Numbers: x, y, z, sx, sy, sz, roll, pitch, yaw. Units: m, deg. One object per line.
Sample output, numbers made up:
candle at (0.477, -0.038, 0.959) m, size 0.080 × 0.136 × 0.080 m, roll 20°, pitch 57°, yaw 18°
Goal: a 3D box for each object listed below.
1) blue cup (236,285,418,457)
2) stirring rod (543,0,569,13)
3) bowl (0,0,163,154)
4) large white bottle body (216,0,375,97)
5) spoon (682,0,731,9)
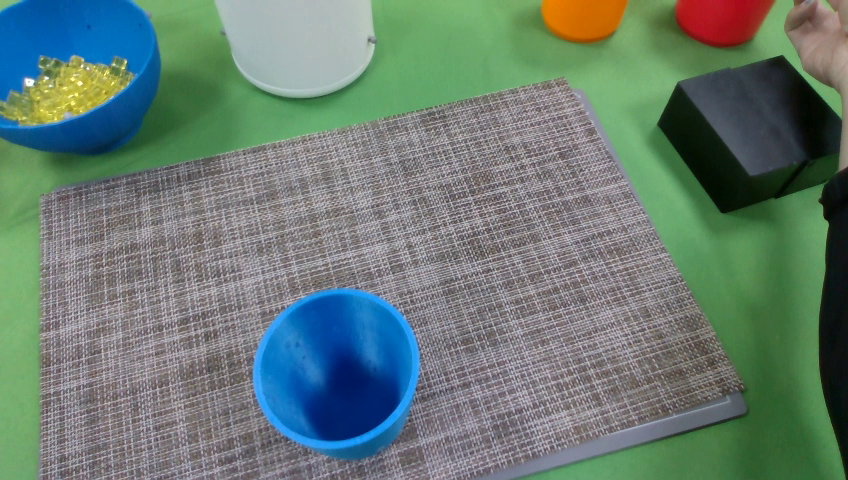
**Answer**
blue cup at (-0.044, 0.086, 0.353) m, size 0.092 × 0.101 × 0.092 m, roll 0°, pitch 61°, yaw 1°
stirring rod at (0.180, -0.245, 0.530) m, size 0.175 × 0.006 × 0.014 m, roll -19°, pitch 51°, yaw 39°
bowl at (-0.278, -0.123, 0.487) m, size 0.151 × 0.077 × 0.150 m, roll 1°, pitch 60°, yaw -1°
large white bottle body at (-0.109, -0.223, 0.485) m, size 0.130 × 0.186 × 0.129 m, roll 1°, pitch 60°, yaw -1°
spoon at (0.317, -0.234, 0.522) m, size 0.192 × 0.022 × 0.041 m, roll 2°, pitch 54°, yaw 54°
